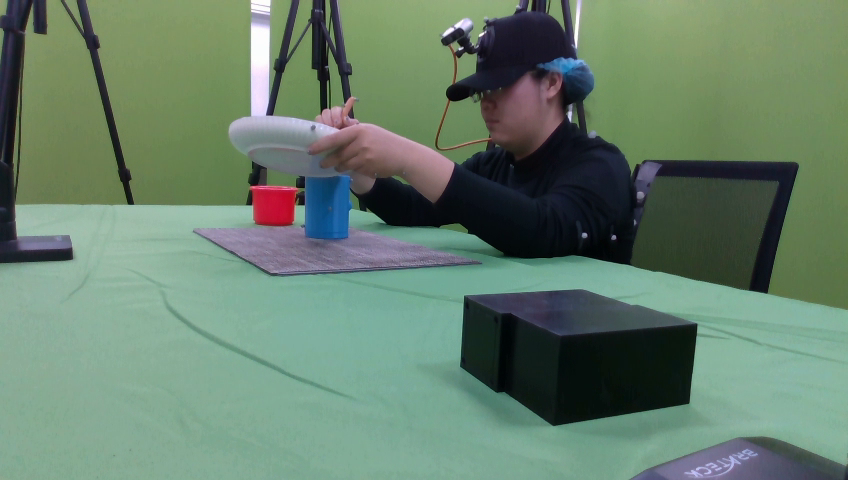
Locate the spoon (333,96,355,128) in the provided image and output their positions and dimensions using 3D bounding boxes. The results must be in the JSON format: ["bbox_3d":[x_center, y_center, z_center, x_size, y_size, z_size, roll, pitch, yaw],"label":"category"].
[{"bbox_3d":[-0.159,-0.197,1.060,0.041,0.022,0.194,1,41,20],"label":"spoon"}]

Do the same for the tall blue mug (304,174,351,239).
[{"bbox_3d":[-0.178,-0.062,1.062,0.078,0.108,0.106,-5,10,-38],"label":"tall blue mug"}]

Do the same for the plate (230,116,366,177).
[{"bbox_3d":[-0.195,-0.136,0.939,0.208,0.039,0.207,6,-10,1],"label":"plate"}]
